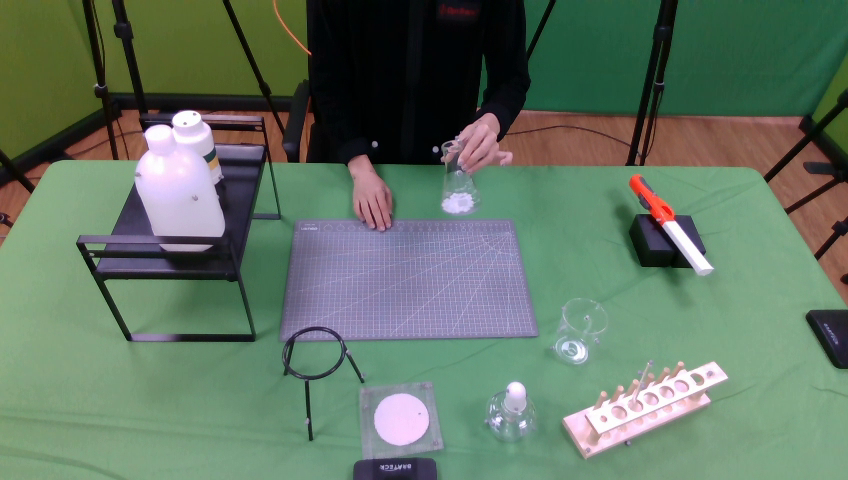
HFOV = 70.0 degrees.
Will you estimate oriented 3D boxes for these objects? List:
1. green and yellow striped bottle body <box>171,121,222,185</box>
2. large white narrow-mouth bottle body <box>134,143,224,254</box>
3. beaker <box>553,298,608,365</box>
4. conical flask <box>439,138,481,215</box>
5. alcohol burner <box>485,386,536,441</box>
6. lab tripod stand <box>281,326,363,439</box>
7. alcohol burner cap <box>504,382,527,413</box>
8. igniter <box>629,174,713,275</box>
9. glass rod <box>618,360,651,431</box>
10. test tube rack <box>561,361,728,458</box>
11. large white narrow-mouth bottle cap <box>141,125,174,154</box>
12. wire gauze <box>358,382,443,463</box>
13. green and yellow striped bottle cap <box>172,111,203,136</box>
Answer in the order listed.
[{"bbox_3d":[-0.375,-0.149,0.995,0.063,0.120,0.063,2,46,-2],"label":"green and yellow striped bottle body"},{"bbox_3d":[-0.358,-0.075,0.875,0.102,0.195,0.101,1,47,-1],"label":"large white narrow-mouth bottle body"},{"bbox_3d":[0.260,0.154,1.014,0.073,0.101,0.084,37,54,27],"label":"beaker"},{"bbox_3d":[0.056,-0.110,1.039,0.075,0.122,0.075,-7,29,4],"label":"conical flask"},{"bbox_3d":[0.131,0.249,0.904,0.078,0.120,0.077,1,48,-1],"label":"alcohol burner"},{"bbox_3d":[-0.166,0.203,0.913,0.148,0.132,0.147,1,47,-1],"label":"lab tripod stand"},{"bbox_3d":[0.133,0.225,0.877,0.034,0.048,0.033,-4,47,5],"label":"alcohol burner cap"},{"bbox_3d":[0.481,-0.040,1.202,0.057,0.025,0.274,-2,46,-21],"label":"igniter"},{"bbox_3d":[0.298,0.226,0.865,0.008,0.201,0.008,-1,48,2],"label":"glass rod"},{"bbox_3d":[0.341,0.248,0.940,0.243,0.085,0.066,-15,49,-18],"label":"test tube rack"},{"bbox_3d":[-0.356,-0.134,0.811,0.038,0.024,0.037,2,47,-1],"label":"large white narrow-mouth bottle cap"},{"bbox_3d":[-0.039,0.277,0.937,0.121,0.011,0.124,-4,47,-7],"label":"wire gauze"},{"bbox_3d":[-0.374,-0.185,0.958,0.045,0.020,0.045,3,46,-3],"label":"green and yellow striped bottle cap"}]
